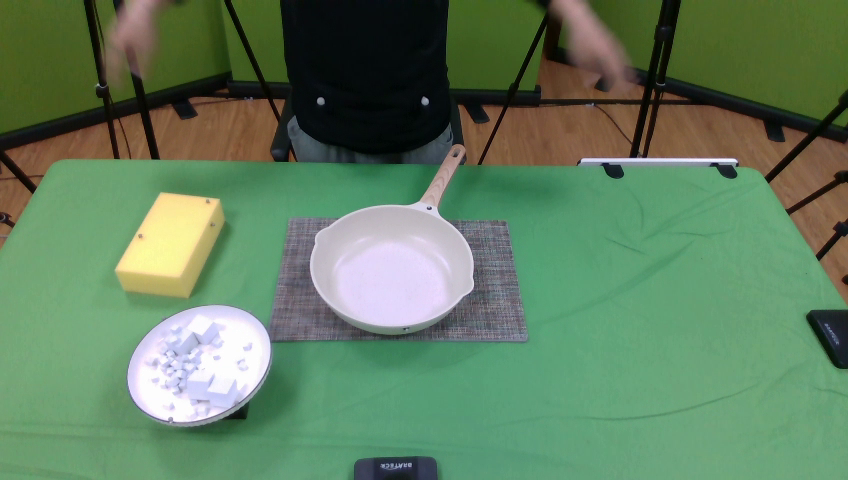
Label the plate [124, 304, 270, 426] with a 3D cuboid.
[{"bbox_3d":[-0.336,0.189,0.913,0.208,0.039,0.206,1,46,-1],"label":"plate"}]

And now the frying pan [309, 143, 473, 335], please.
[{"bbox_3d":[-0.018,-0.022,1.155,0.306,0.103,0.486,20,57,13],"label":"frying pan"}]

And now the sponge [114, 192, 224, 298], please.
[{"bbox_3d":[-0.467,0.005,1.129,0.118,0.061,0.205,6,46,1],"label":"sponge"}]
